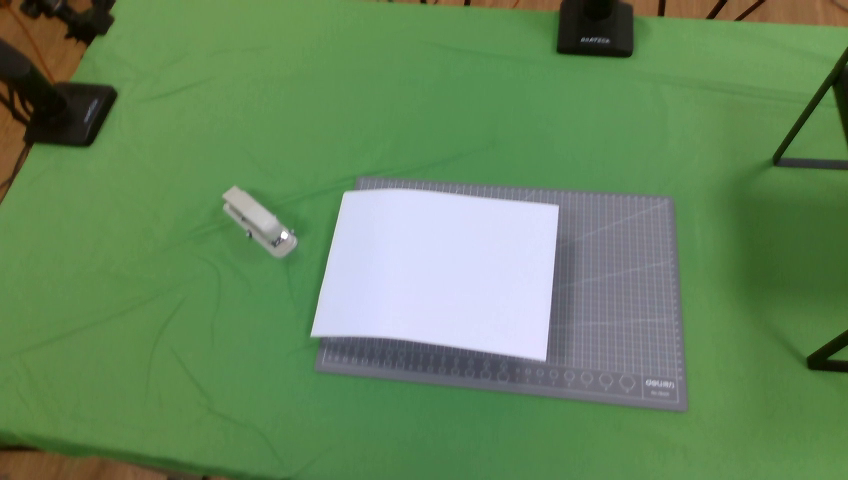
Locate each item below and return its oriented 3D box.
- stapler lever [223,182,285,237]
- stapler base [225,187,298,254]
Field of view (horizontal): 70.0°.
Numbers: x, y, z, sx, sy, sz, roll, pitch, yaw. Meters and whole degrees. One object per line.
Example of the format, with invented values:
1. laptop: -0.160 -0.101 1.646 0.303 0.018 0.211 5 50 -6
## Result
1. stapler lever: -0.237 -0.045 0.836 0.117 0.040 0.027 38 70 23
2. stapler base: -0.233 -0.033 0.858 0.129 0.024 0.041 38 70 23
